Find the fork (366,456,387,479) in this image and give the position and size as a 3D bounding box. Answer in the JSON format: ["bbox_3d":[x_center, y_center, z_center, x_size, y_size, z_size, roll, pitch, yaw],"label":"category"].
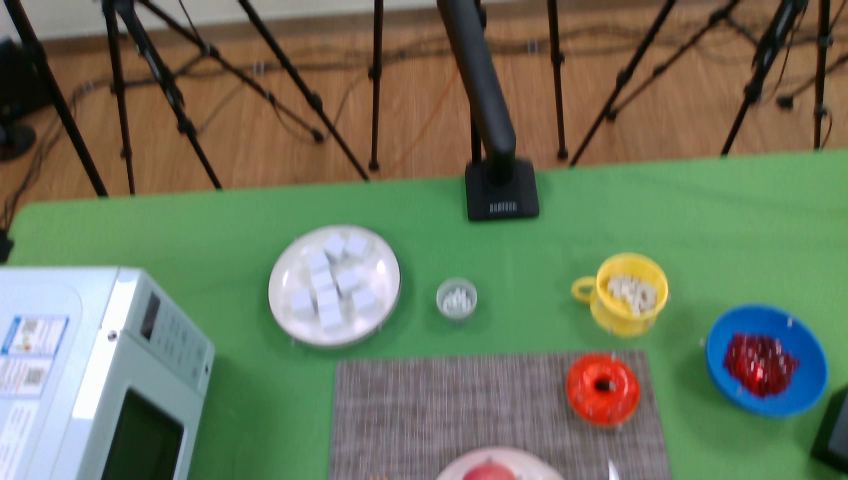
[{"bbox_3d":[-0.057,0.379,0.758,0.028,0.019,0.205,-1,59,-7],"label":"fork"}]

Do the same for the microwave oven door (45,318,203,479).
[{"bbox_3d":[-0.346,0.296,0.680,0.039,0.246,0.352,-1,59,4],"label":"microwave oven door"}]

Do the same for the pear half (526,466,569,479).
[{"bbox_3d":[0.149,0.322,0.747,0.070,0.031,0.087,8,61,32],"label":"pear half"}]

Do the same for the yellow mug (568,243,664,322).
[{"bbox_3d":[0.279,0.062,0.894,0.130,0.064,0.099,6,60,9],"label":"yellow mug"}]

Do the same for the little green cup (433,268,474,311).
[{"bbox_3d":[0.045,0.078,0.918,0.061,0.039,0.061,-2,59,4],"label":"little green cup"}]

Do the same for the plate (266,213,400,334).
[{"bbox_3d":[-0.139,0.054,0.947,0.207,0.039,0.205,-2,59,3],"label":"plate"}]

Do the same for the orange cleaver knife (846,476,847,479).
[{"bbox_3d":[0.513,0.300,0.726,0.012,0.078,0.211,29,91,25],"label":"orange cleaver knife"}]

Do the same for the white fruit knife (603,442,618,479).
[{"bbox_3d":[0.243,0.356,0.751,0.027,0.016,0.205,14,55,-23],"label":"white fruit knife"}]

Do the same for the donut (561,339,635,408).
[{"bbox_3d":[0.239,0.183,0.834,0.099,0.048,0.098,-3,60,6],"label":"donut"}]

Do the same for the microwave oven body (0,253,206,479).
[{"bbox_3d":[-0.490,0.263,0.716,0.326,0.262,0.438,0,60,4],"label":"microwave oven body"}]

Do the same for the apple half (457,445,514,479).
[{"bbox_3d":[0.078,0.297,0.762,0.074,0.054,0.080,1,63,6],"label":"apple half"}]

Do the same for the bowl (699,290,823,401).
[{"bbox_3d":[0.443,0.152,0.822,0.151,0.077,0.150,-2,60,4],"label":"bowl"}]

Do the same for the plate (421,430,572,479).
[{"bbox_3d":[0.091,0.345,0.754,0.209,0.038,0.207,-2,59,3],"label":"plate"}]

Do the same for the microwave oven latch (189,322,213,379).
[{"bbox_3d":[-0.329,0.159,0.877,0.030,0.030,0.078,1,61,5],"label":"microwave oven latch"}]
